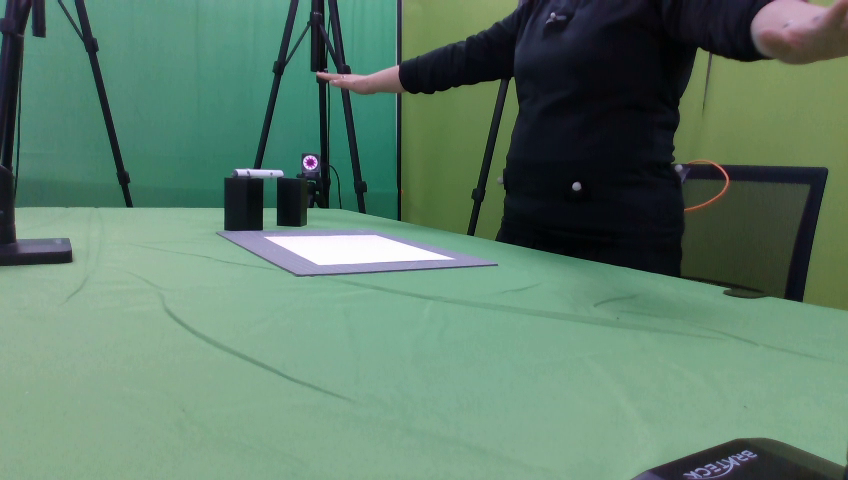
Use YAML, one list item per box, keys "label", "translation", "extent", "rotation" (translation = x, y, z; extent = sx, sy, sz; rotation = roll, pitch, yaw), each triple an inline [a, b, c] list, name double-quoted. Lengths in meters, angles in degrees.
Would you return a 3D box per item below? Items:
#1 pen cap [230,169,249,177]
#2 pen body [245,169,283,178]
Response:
- label: "pen cap"
  translation: [-0.347, -0.125, 1.138]
  extent: [0.017, 0.017, 0.038]
  rotation: [6, 8, 21]
- label: "pen body"
  translation: [-0.325, -0.130, 1.195]
  extent: [0.017, 0.017, 0.144]
  rotation: [6, 7, 22]
